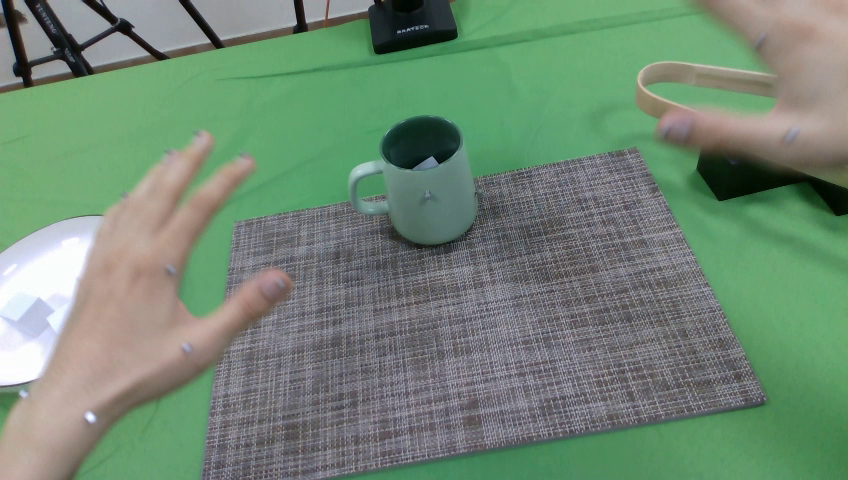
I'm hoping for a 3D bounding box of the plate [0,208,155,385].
[{"bbox_3d":[-0.370,0.056,0.612,0.209,0.038,0.207,-5,50,6],"label":"plate"}]

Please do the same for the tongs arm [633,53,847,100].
[{"bbox_3d":[0.394,-0.131,0.568,0.382,0.027,0.050,19,60,23],"label":"tongs arm"}]

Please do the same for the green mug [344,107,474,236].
[{"bbox_3d":[-0.015,-0.062,0.594,0.125,0.106,0.091,-11,51,1],"label":"green mug"}]

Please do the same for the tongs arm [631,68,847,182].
[{"bbox_3d":[0.352,-0.076,0.532,0.384,0.028,0.028,31,68,30],"label":"tongs arm"}]
